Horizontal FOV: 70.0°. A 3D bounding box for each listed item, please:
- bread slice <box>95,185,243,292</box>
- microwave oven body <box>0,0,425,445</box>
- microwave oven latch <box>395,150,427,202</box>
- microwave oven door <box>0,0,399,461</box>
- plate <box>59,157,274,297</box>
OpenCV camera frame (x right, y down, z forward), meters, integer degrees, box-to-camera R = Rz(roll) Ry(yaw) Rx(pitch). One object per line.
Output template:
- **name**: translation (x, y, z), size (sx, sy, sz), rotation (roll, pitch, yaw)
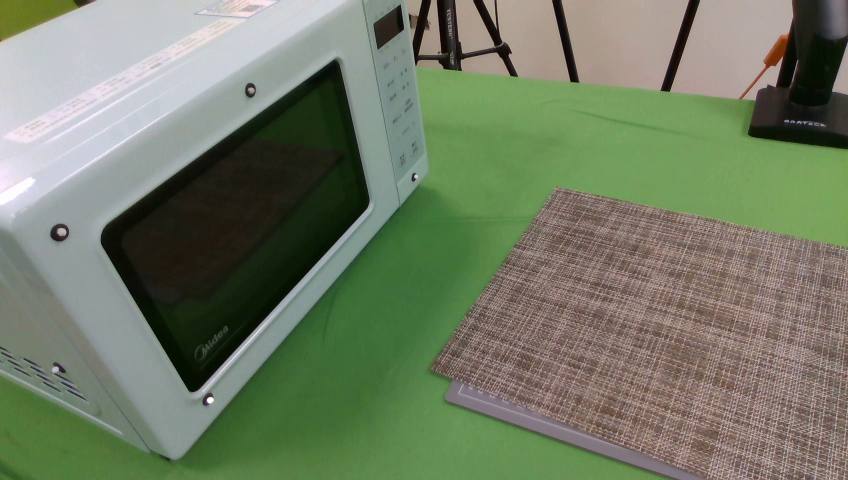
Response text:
- **bread slice**: translation (-0.255, -0.011, 0.617), size (0.104, 0.019, 0.131), rotation (22, 52, 31)
- **microwave oven body**: translation (-0.247, -0.077, 0.606), size (0.324, 0.263, 0.440), rotation (14, 44, 25)
- **microwave oven latch**: translation (-0.024, -0.078, 0.721), size (0.030, 0.030, 0.079), rotation (14, 45, 25)
- **microwave oven door**: translation (-0.138, -0.026, 0.514), size (0.039, 0.246, 0.354), rotation (13, 43, 25)
- **plate**: translation (-0.252, -0.013, 0.612), size (0.209, 0.038, 0.207), rotation (-6, 39, 5)
